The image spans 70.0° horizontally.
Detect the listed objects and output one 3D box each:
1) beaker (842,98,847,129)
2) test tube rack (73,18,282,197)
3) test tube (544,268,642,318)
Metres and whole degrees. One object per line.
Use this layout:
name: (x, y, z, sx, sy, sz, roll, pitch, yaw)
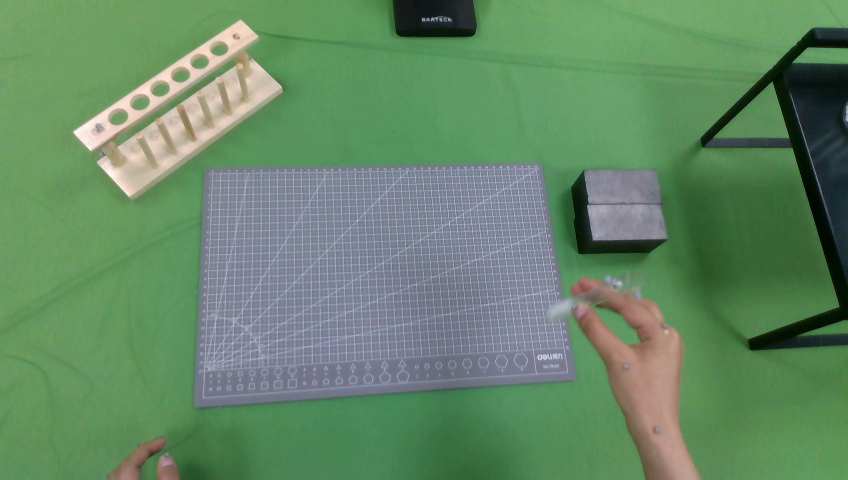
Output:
beaker: (0.523, -0.157, 0.666, 0.084, 0.101, 0.073, -6, 70, -9)
test tube rack: (-0.297, -0.166, 0.759, 0.066, 0.085, 0.242, 44, 71, 10)
test tube: (0.145, 0.050, 0.543, 0.017, 0.150, 0.017, 5, 72, -14)
